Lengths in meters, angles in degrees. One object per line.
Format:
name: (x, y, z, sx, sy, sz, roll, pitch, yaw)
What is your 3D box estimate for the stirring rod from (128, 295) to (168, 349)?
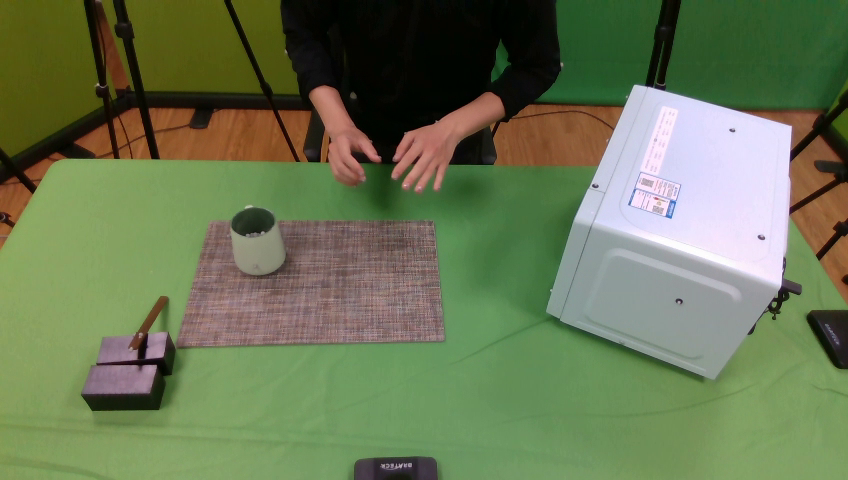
stirring rod: (-0.451, 0.131, 0.996, 0.014, 0.006, 0.175, 9, 21, -10)

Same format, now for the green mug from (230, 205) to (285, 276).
green mug: (-0.311, -0.008, 1.118, 0.092, 0.105, 0.124, -14, 48, -16)

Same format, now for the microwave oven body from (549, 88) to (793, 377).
microwave oven body: (0.456, -0.028, 1.088, 0.325, 0.261, 0.440, 20, 47, 16)

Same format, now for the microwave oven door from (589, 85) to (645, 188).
microwave oven door: (0.342, -0.107, 1.149, 0.039, 0.245, 0.354, 20, 48, 15)

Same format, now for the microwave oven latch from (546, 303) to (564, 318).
microwave oven latch: (0.242, 0.102, 1.081, 0.030, 0.029, 0.079, 21, 48, 17)
